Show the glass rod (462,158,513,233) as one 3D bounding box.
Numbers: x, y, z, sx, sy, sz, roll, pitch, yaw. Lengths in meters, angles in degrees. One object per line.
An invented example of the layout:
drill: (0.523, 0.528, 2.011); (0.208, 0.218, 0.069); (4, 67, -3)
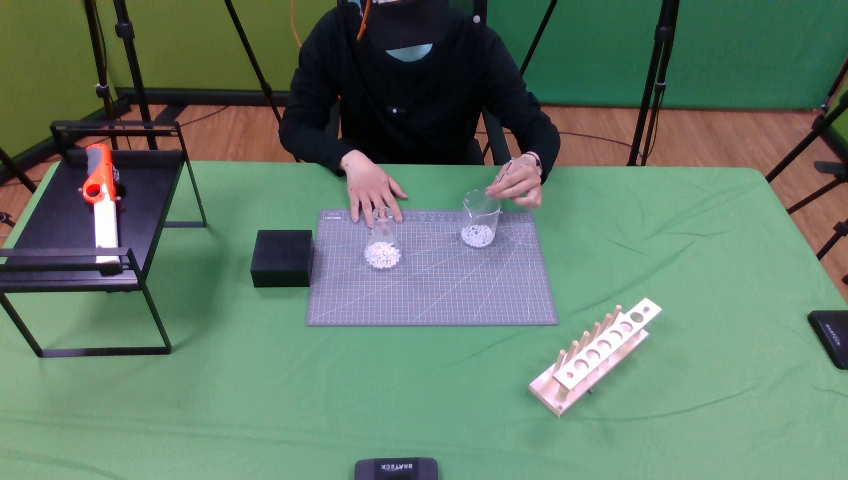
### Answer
glass rod: (0.120, -0.081, 1.164); (0.008, 0.200, 0.008); (18, 41, -16)

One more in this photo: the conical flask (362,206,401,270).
conical flask: (-0.078, -0.008, 1.126); (0.075, 0.122, 0.075); (2, 46, -2)

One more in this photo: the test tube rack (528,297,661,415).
test tube rack: (0.285, 0.178, 1.005); (0.242, 0.085, 0.066); (-31, 55, -29)

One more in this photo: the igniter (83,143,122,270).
igniter: (-0.508, -0.063, 0.962); (0.057, 0.025, 0.274); (-14, 53, -18)

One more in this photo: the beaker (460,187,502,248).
beaker: (0.108, -0.039, 1.186); (0.074, 0.101, 0.083); (21, 49, 16)
